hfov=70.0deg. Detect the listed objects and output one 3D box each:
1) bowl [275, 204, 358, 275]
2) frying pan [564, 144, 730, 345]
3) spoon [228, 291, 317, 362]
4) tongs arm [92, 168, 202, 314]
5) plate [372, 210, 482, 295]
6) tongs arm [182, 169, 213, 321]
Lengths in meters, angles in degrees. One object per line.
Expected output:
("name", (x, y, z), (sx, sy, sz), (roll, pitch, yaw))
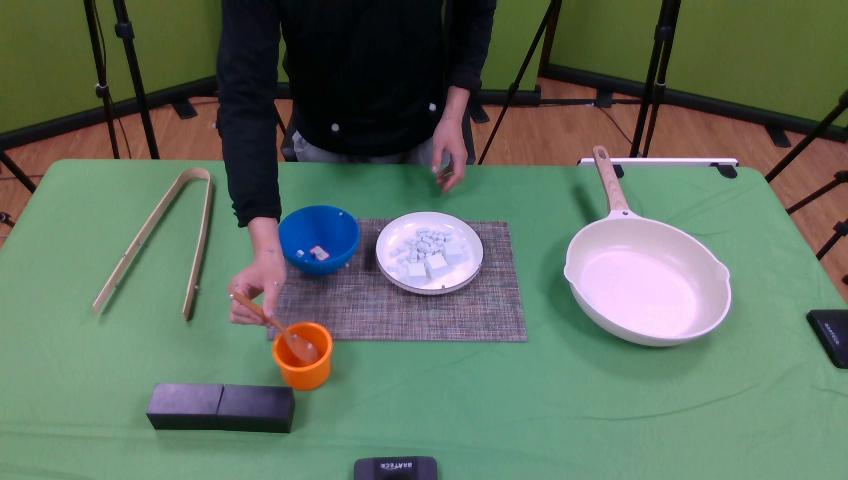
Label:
("bowl", (-0.197, 0.012, 1.126), (0.151, 0.077, 0.150), (2, 46, -2))
("frying pan", (0.396, -0.008, 1.179), (0.307, 0.103, 0.484), (0, 55, -5))
("spoon", (-0.225, 0.129, 0.914), (0.021, 0.195, 0.041), (-21, 42, 16))
("tongs arm", (-0.517, -0.013, 1.160), (0.051, 0.026, 0.382), (7, 45, 1))
("plate", (0.005, 0.028, 1.155), (0.208, 0.039, 0.206), (2, 46, -2))
("tongs arm", (-0.436, -0.005, 1.165), (0.028, 0.028, 0.385), (-5, 47, -6))
